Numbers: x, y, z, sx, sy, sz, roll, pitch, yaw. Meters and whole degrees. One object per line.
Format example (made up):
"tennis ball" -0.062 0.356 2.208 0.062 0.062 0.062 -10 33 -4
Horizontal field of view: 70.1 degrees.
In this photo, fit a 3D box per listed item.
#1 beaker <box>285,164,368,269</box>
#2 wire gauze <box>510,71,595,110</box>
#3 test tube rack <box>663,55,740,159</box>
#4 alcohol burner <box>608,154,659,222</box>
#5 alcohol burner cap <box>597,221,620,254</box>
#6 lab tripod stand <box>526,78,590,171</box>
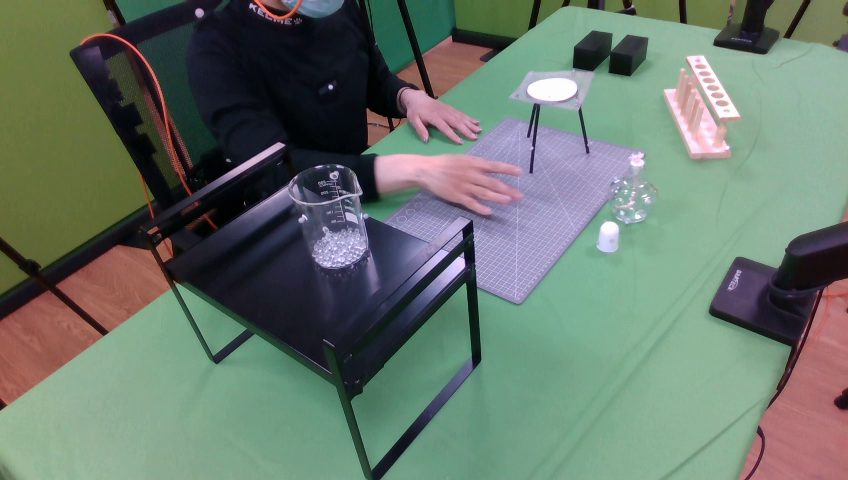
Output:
"beaker" -0.102 -0.024 0.676 0.083 0.101 0.074 8 43 17
"wire gauze" 0.224 -0.266 1.054 0.124 0.011 0.121 12 44 23
"test tube rack" 0.518 -0.256 1.144 0.066 0.085 0.241 -1 41 8
"alcohol burner" 0.333 -0.087 0.954 0.078 0.119 0.077 -3 42 3
"alcohol burner cap" 0.283 -0.007 0.924 0.034 0.048 0.033 -4 39 4
"lab tripod stand" 0.228 -0.216 1.097 0.148 0.132 0.147 -6 40 5
